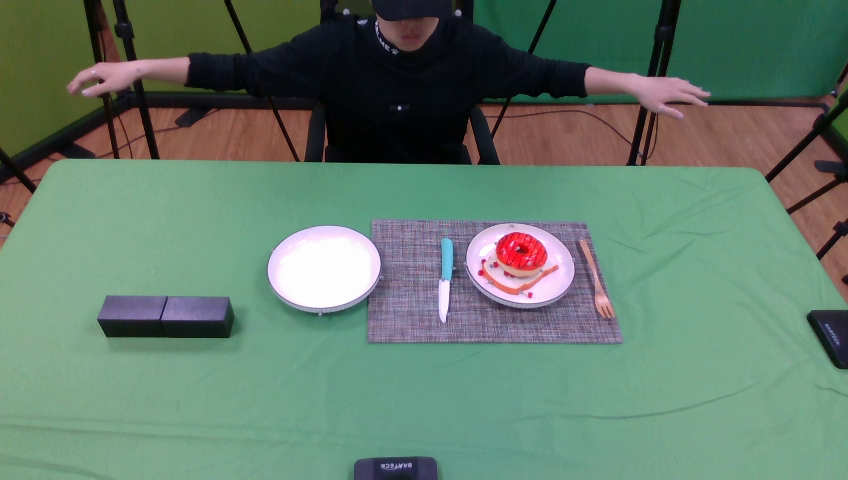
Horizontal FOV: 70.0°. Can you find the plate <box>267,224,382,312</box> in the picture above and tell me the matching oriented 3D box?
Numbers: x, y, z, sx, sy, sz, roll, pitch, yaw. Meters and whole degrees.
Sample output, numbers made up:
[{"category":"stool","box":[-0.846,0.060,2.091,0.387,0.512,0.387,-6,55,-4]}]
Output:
[{"category":"plate","box":[-0.182,0.055,1.120,0.208,0.039,0.206,2,46,-2]}]

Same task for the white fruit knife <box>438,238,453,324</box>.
[{"category":"white fruit knife","box":[0.040,0.073,1.131,0.027,0.016,0.206,-17,43,21]}]

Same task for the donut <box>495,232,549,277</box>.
[{"category":"donut","box":[0.180,0.026,1.119,0.099,0.048,0.098,2,46,-2]}]

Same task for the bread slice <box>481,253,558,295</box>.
[{"category":"bread slice","box":[0.177,0.050,1.148,0.131,0.019,0.104,-32,55,-31]}]

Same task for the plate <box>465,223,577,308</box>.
[{"category":"plate","box":[0.180,0.051,1.144,0.209,0.038,0.208,2,46,-2]}]

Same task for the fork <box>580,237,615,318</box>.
[{"category":"fork","box":[0.325,0.067,1.151,0.028,0.019,0.206,-6,48,1]}]
